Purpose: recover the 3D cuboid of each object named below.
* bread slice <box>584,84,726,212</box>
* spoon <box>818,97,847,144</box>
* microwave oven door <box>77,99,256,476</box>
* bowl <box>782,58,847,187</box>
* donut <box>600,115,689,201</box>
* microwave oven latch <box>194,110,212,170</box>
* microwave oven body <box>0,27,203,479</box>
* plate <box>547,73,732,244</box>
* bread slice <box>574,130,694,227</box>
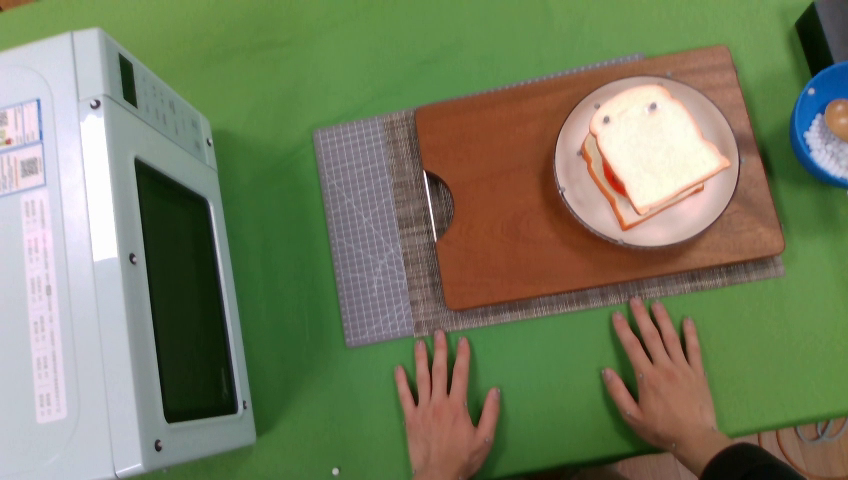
[{"bbox_3d":[0.240,-0.106,0.663,0.107,0.018,0.133,-32,70,1],"label":"bread slice"},{"bbox_3d":[0.492,-0.085,0.664,0.041,0.022,0.191,-12,55,2],"label":"spoon"},{"bbox_3d":[-0.274,0.056,0.664,0.039,0.245,0.354,-14,77,5],"label":"microwave oven door"},{"bbox_3d":[0.486,-0.125,0.704,0.151,0.077,0.150,-1,79,8],"label":"bowl"},{"bbox_3d":[0.249,-0.093,0.690,0.099,0.048,0.098,0,82,1],"label":"donut"},{"bbox_3d":[-0.305,-0.132,0.809,0.030,0.029,0.079,-14,78,4],"label":"microwave oven latch"},{"bbox_3d":[-0.424,0.052,0.689,0.326,0.261,0.439,-14,78,4],"label":"microwave oven body"},{"bbox_3d":[0.250,-0.095,0.719,0.207,0.039,0.206,-1,79,7],"label":"plate"},{"bbox_3d":[0.243,-0.092,0.724,0.105,0.019,0.131,-29,80,-1],"label":"bread slice"}]
